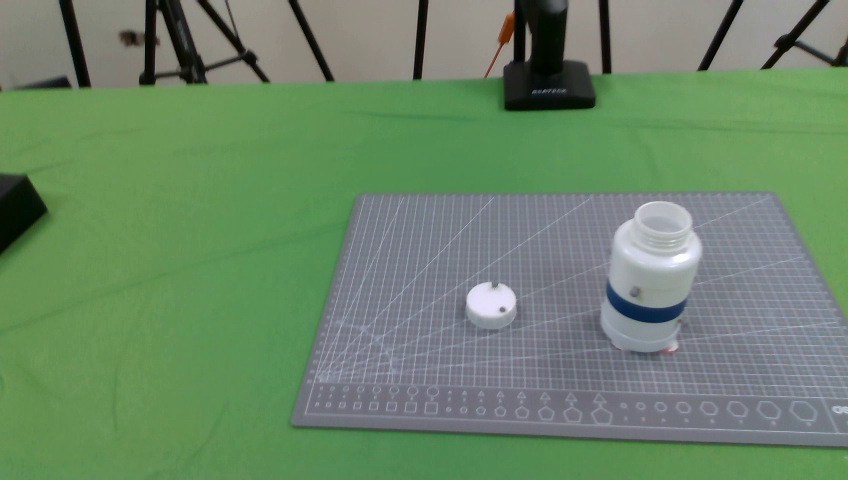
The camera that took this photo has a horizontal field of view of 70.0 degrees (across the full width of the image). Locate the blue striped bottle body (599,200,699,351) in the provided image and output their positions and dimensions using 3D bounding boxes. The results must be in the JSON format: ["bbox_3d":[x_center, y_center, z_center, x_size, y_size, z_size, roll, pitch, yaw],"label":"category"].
[{"bbox_3d":[0.177,0.027,0.477,0.063,0.122,0.062,-3,42,3],"label":"blue striped bottle body"}]

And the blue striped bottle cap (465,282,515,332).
[{"bbox_3d":[0.058,0.059,0.535,0.044,0.021,0.044,-2,40,2],"label":"blue striped bottle cap"}]
